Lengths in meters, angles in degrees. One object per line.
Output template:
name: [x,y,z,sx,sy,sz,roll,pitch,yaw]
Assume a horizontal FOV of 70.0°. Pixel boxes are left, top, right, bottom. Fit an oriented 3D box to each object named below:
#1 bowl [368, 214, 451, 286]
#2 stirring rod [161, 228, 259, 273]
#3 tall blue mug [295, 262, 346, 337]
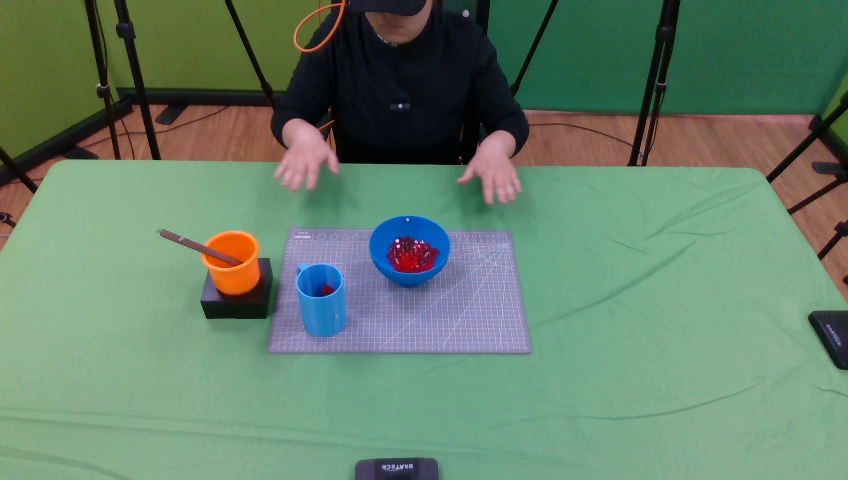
bowl: [-0.028,0.031,1.122,0.151,0.077,0.150,2,46,-2]
stirring rod: [-0.351,0.019,1.003,0.177,0.006,0.014,28,34,-38]
tall blue mug: [-0.187,0.096,1.027,0.107,0.108,0.077,21,49,15]
